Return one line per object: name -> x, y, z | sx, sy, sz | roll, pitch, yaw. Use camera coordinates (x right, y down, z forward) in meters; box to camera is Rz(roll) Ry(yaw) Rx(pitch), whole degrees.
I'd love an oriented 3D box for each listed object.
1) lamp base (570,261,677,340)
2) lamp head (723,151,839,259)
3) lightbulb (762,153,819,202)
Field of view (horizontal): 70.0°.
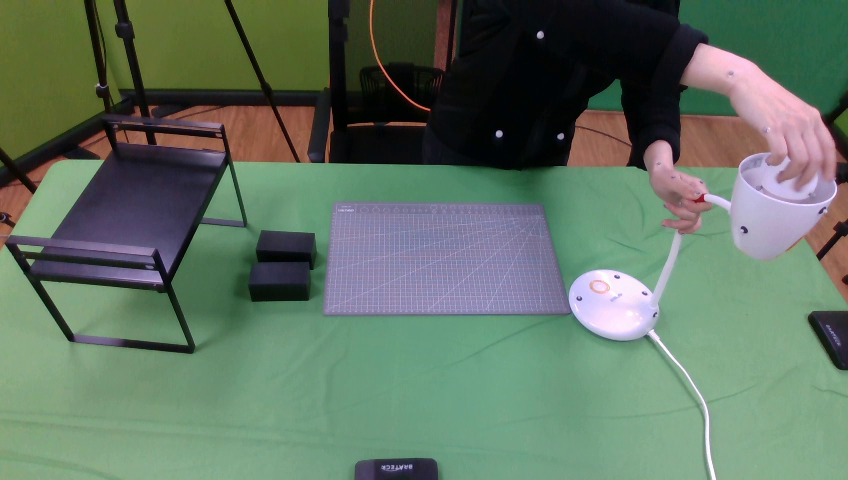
lamp base -> 0.359, 0.068, 1.046 | 0.178, 0.181, 0.160 | 37, 55, 25
lamp head -> 0.439, -0.038, 0.773 | 0.112, 0.123, 0.111 | 1, 46, -1
lightbulb -> 0.447, -0.057, 0.755 | 0.059, 0.108, 0.059 | 1, 39, 0
